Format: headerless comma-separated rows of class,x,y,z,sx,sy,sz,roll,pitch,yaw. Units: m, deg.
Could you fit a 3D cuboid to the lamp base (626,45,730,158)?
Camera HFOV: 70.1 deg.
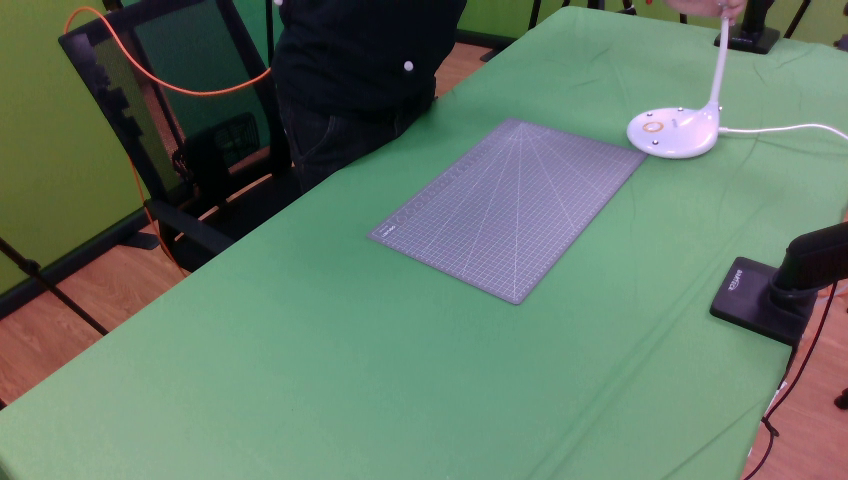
lamp base,0.468,-0.262,1.086,0.179,0.181,0.159,-4,41,-1
